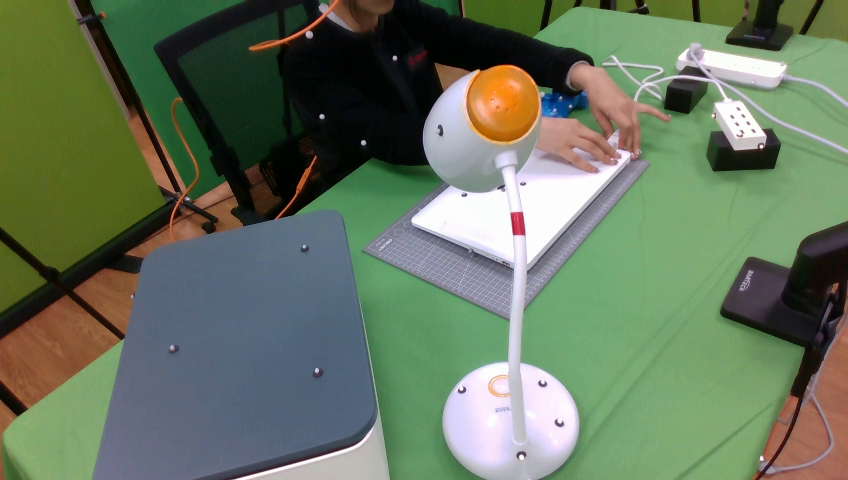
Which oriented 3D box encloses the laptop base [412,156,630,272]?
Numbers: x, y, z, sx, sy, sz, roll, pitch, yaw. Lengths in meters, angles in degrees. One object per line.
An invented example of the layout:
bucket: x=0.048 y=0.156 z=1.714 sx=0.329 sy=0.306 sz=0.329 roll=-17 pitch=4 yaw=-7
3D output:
laptop base: x=0.176 y=-0.084 z=1.056 sx=0.233 sy=0.023 sz=0.355 roll=21 pitch=48 yaw=36

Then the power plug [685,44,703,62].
power plug: x=0.568 y=-0.390 z=1.294 sx=0.073 sy=0.053 sz=0.035 roll=-33 pitch=46 yaw=-22

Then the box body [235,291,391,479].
box body: x=-0.190 y=0.161 z=0.723 sx=0.255 sy=0.161 sz=0.361 roll=-13 pitch=40 yaw=-5

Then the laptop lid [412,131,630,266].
laptop lid: x=0.173 y=-0.093 z=1.049 sx=0.239 sy=0.013 sz=0.358 roll=23 pitch=49 yaw=36

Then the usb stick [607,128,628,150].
usb stick: x=0.353 y=-0.179 z=1.111 sx=0.021 sy=0.027 sz=0.059 roll=18 pitch=56 yaw=35

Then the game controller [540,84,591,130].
game controller: x=0.277 y=-0.282 z=1.251 sx=0.096 sy=0.052 sz=0.155 roll=27 pitch=52 yaw=30

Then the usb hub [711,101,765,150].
usb hub: x=0.537 y=-0.198 z=1.038 sx=0.049 sy=0.025 sz=0.124 roll=-4 pitch=39 yaw=8

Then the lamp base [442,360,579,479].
lamp base: x=0.094 y=0.158 z=0.657 sx=0.161 sy=0.181 sz=0.178 roll=-13 pitch=42 yaw=-5

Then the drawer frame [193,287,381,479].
drawer frame: x=-0.172 y=0.176 z=0.755 sx=0.202 sy=0.083 sz=0.212 roll=-14 pitch=42 yaw=-7

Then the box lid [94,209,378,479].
box lid: x=-0.202 y=0.094 z=0.680 sx=0.264 sy=0.015 sz=0.368 roll=-13 pitch=39 yaw=-5

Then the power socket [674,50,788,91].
power socket: x=0.647 y=-0.363 z=1.284 sx=0.225 sy=0.033 sz=0.072 roll=25 pitch=52 yaw=34

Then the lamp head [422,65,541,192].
lamp head: x=0.060 y=-0.106 z=0.560 sx=0.113 sy=0.112 sz=0.122 roll=-16 pitch=0 yaw=-8
